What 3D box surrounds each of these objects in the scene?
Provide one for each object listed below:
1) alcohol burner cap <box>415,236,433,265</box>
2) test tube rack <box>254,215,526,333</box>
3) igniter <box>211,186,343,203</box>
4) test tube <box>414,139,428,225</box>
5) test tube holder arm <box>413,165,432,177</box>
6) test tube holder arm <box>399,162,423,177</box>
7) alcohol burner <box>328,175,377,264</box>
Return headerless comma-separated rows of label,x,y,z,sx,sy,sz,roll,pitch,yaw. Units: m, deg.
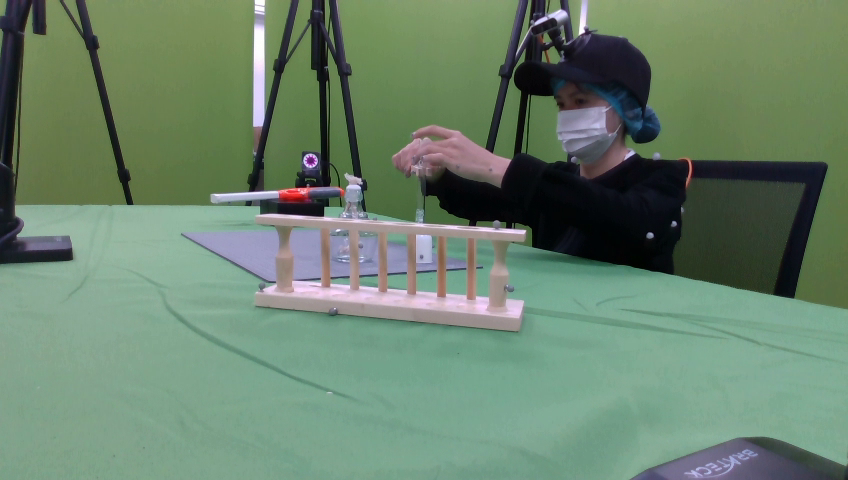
alcohol burner cap,-0.004,0.011,0.835,0.034,0.048,0.034,2,7,0
test tube rack,-0.030,0.025,0.558,0.242,0.085,0.067,4,7,12
igniter,-0.300,-0.095,1.266,0.278,0.025,0.057,-6,12,-34
test tube,-0.006,-0.095,1.024,0.017,0.150,0.017,3,8,0
test tube holder arm,-0.006,-0.120,1.044,0.010,0.015,0.087,1,11,-23
test tube holder arm,-0.025,-0.128,1.085,0.013,0.015,0.178,3,10,-14
alcohol burner,-0.098,-0.028,0.819,0.078,0.119,0.078,1,8,0
